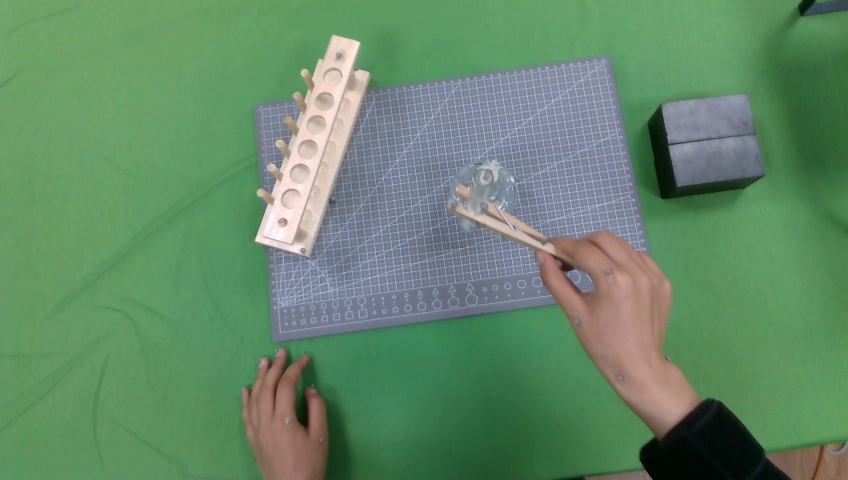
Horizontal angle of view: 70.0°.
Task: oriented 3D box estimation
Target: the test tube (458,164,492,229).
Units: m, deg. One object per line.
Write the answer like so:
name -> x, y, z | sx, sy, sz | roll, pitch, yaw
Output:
test tube -> 0.041, -0.032, 0.509 | 0.017, 0.151, 0.017 | 0, 78, -1

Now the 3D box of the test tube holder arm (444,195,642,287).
test tube holder arm -> 0.100, 0.002, 0.514 | 0.178, 0.015, 0.013 | 25, 77, 2

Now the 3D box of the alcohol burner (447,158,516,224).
alcohol burner -> 0.065, -0.059, 0.673 | 0.078, 0.119, 0.077 | 0, 78, 1

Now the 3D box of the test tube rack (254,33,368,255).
test tube rack -> -0.137, -0.112, 0.704 | 0.066, 0.085, 0.241 | 16, 80, 6

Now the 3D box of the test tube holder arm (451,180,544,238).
test tube holder arm -> 0.063, -0.024, 0.518 | 0.087, 0.015, 0.010 | 32, 77, 4
